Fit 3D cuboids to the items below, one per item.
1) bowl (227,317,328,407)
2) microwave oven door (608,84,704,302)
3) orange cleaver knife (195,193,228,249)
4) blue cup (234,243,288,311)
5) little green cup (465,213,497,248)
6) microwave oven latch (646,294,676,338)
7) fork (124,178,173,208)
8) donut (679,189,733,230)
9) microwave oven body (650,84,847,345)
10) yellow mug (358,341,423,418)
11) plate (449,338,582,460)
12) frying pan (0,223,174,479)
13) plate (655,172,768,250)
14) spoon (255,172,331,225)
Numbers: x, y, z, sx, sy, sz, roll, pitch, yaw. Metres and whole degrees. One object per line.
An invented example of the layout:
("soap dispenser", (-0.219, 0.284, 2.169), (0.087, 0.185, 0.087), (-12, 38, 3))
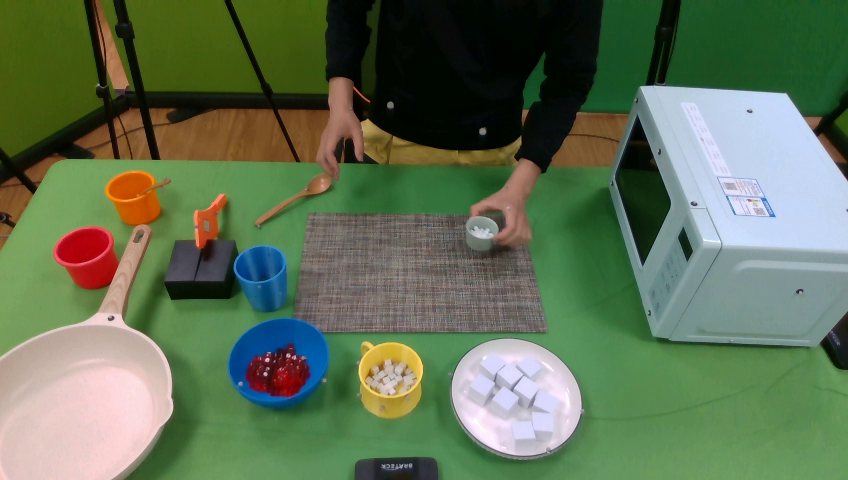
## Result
("bowl", (-0.222, 0.203, 0.947), (0.151, 0.077, 0.150), (2, 46, -2))
("microwave oven door", (0.424, -0.096, 1.138), (0.039, 0.245, 0.353), (2, 46, -1))
("orange cleaver knife", (-0.406, -0.041, 1.163), (0.012, 0.077, 0.210), (0, 18, -3))
("blue cup", (-0.276, 0.072, 1.052), (0.093, 0.101, 0.092), (1, 48, -1))
("little green cup", (0.106, -0.016, 1.145), (0.061, 0.039, 0.061), (1, 46, -1))
("microwave oven latch", (0.412, 0.133, 1.060), (0.030, 0.029, 0.078), (3, 46, 0))
("fork", (-0.525, -0.090, 1.153), (0.207, 0.019, 0.028), (-18, 27, 45))
("donut", (0.545, -0.061, 1.176), (0.099, 0.048, 0.098), (0, 45, 0))
("microwave oven body", (0.569, -0.054, 1.116), (0.326, 0.261, 0.439), (2, 46, -1))
("yellow mug", (-0.063, 0.210, 0.961), (0.100, 0.064, 0.130), (-29, 54, -28))
("plate", (0.141, 0.251, 0.955), (0.208, 0.039, 0.206), (2, 46, -2))
("frying pan", (-0.504, 0.169, 0.941), (0.307, 0.103, 0.485), (5, 54, -1))
("plate", (0.556, -0.053, 1.186), (0.209, 0.038, 0.208), (2, 45, -1))
("spoon", (-0.272, -0.087, 1.257), (0.041, 0.022, 0.193), (43, 57, 16))
